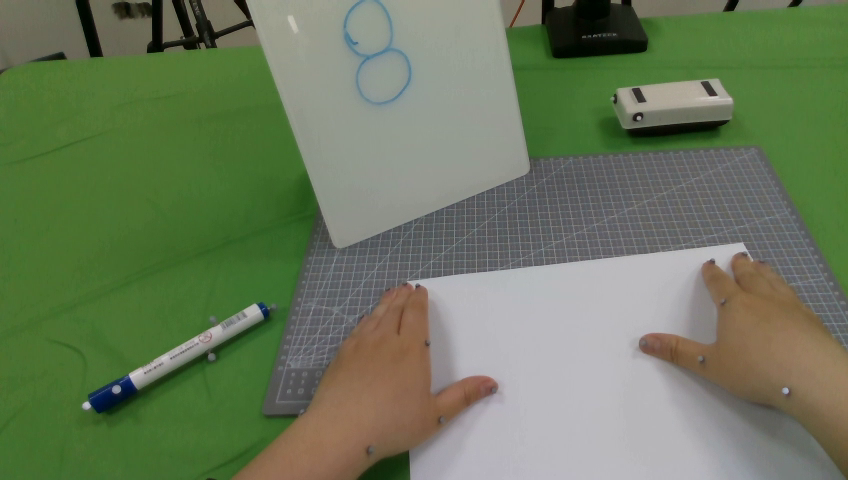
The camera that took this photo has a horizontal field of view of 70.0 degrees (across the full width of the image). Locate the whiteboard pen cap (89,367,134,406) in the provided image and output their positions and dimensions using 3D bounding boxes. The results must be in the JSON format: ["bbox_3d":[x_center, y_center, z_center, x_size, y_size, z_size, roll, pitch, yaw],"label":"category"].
[{"bbox_3d":[-0.236,0.111,0.463,0.033,0.018,0.018,-32,49,-24],"label":"whiteboard pen cap"}]

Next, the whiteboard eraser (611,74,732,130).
[{"bbox_3d":[0.262,-0.146,0.648,0.112,0.042,0.055,-4,47,2],"label":"whiteboard eraser"}]

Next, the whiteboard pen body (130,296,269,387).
[{"bbox_3d":[-0.189,0.085,0.486,0.141,0.017,0.017,-31,49,-24],"label":"whiteboard pen body"}]

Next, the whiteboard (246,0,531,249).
[{"bbox_3d":[-0.049,-0.186,0.585,0.217,0.308,0.142,-22,26,-14],"label":"whiteboard"}]
